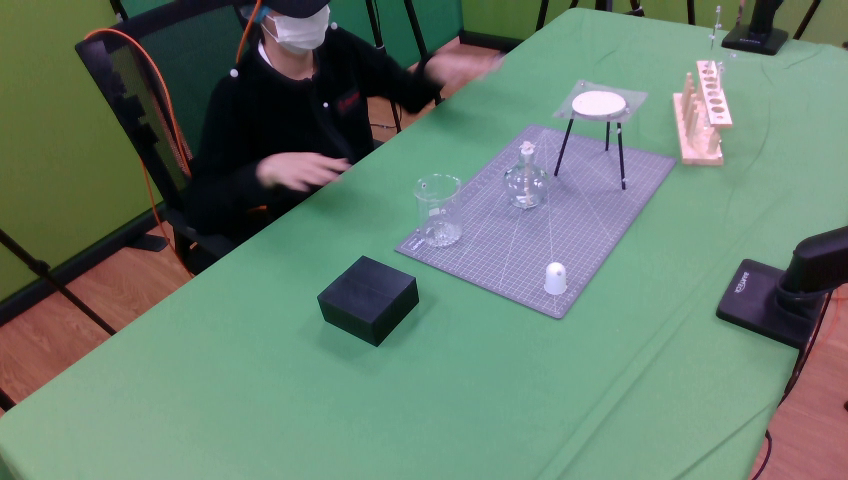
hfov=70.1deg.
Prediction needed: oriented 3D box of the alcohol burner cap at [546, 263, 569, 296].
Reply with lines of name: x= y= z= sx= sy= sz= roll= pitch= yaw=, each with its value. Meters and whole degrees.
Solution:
alcohol burner cap: x=0.191 y=0.053 z=0.862 sx=0.034 sy=0.048 sz=0.033 roll=-5 pitch=40 yaw=4

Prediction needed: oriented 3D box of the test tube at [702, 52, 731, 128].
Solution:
test tube: x=0.522 y=-0.266 z=1.082 sx=0.017 sy=0.151 sz=0.017 roll=-3 pitch=44 yaw=4

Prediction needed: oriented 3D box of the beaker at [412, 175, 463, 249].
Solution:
beaker: x=0.027 y=-0.043 z=0.959 sx=0.084 sy=0.101 sz=0.073 roll=-25 pitch=43 yaw=-20

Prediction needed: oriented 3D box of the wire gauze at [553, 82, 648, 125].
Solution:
wire gauze: x=0.293 y=-0.225 z=1.002 sx=0.120 sy=0.011 sz=0.125 roll=17 pitch=45 yaw=27

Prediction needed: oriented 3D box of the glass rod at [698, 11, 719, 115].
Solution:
glass rod: x=0.529 y=-0.324 z=1.125 sx=0.008 sy=0.200 sz=0.008 roll=-5 pitch=37 yaw=5

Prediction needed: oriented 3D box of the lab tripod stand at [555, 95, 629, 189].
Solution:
lab tripod stand: x=0.300 y=-0.174 z=1.045 sx=0.148 sy=0.132 sz=0.147 roll=-5 pitch=38 yaw=5

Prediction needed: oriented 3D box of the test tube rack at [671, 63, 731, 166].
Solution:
test tube rack: x=0.513 y=-0.241 z=1.132 sx=0.066 sy=0.085 sz=0.242 roll=4 pitch=41 yaw=14

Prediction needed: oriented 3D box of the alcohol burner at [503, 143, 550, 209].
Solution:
alcohol burner: x=0.171 y=-0.111 z=1.006 sx=0.078 sy=0.119 sz=0.077 roll=-3 pitch=41 yaw=3
